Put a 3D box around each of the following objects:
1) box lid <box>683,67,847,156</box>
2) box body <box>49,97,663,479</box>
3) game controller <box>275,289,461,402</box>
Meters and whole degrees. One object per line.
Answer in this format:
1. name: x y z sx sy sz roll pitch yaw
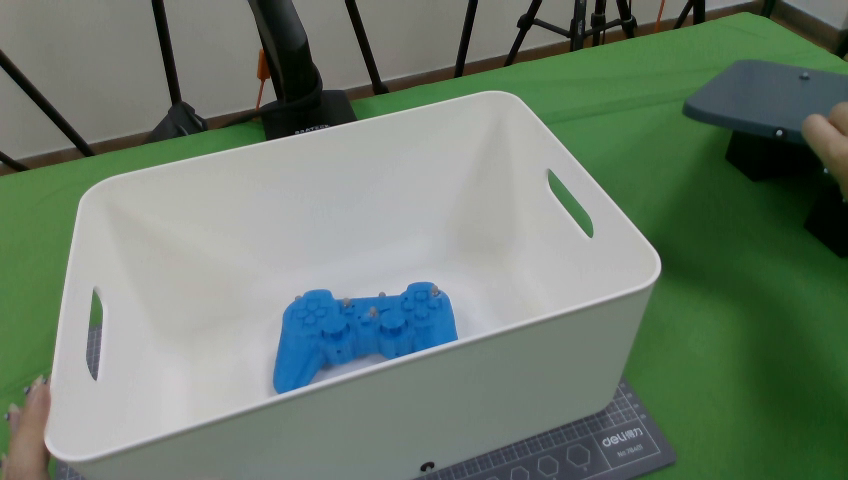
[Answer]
1. box lid: 0.452 -0.105 0.555 0.368 0.015 0.263 21 33 30
2. box body: -0.048 0.050 0.471 0.365 0.162 0.251 -15 43 -11
3. game controller: -0.045 0.083 0.511 0.155 0.052 0.096 -3 37 2
